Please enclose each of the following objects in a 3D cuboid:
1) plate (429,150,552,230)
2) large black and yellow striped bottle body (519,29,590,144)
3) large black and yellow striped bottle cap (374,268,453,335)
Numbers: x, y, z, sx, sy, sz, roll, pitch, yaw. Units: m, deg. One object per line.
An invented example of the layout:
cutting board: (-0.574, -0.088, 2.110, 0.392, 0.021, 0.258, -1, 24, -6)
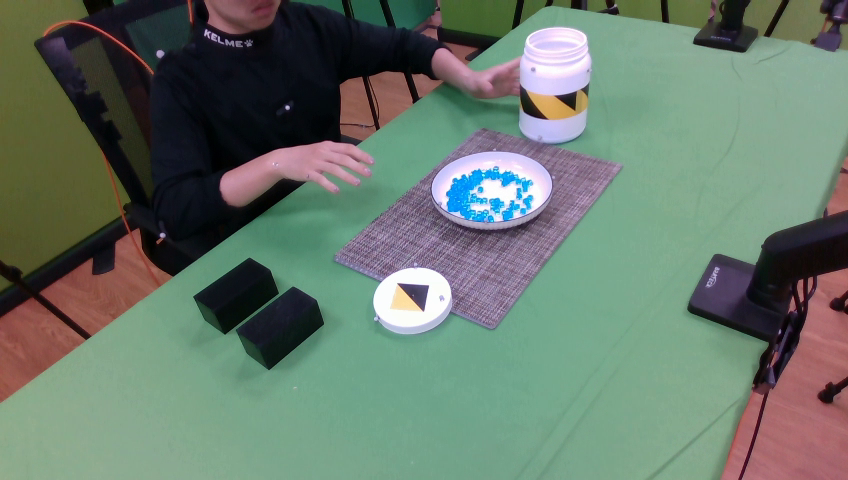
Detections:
plate: (0.113, -0.082, 1.032, 0.207, 0.039, 0.206, -4, 41, 4)
large black and yellow striped bottle body: (0.246, -0.291, 1.149, 0.131, 0.185, 0.130, -4, 41, 4)
large black and yellow striped bottle cap: (-0.015, 0.087, 0.871, 0.115, 0.019, 0.114, -6, 43, 6)
